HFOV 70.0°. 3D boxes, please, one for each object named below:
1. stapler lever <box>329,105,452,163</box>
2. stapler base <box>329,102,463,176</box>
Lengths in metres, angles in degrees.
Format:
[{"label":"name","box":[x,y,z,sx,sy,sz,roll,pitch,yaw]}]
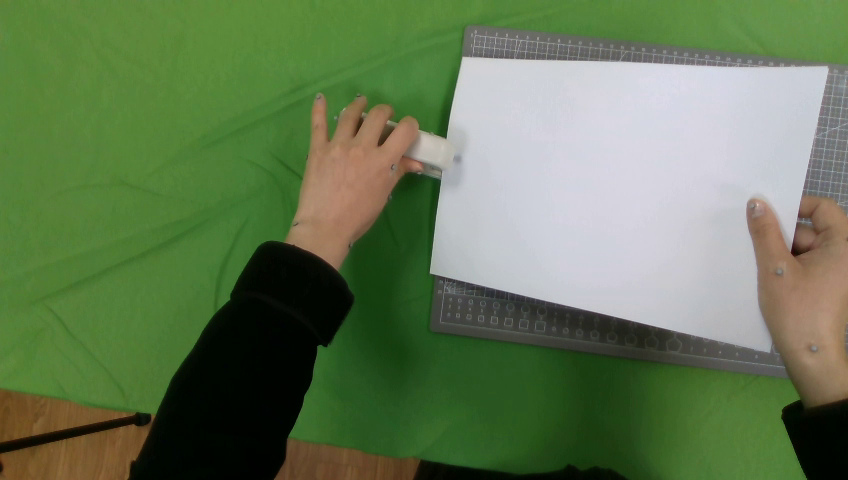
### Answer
[{"label":"stapler lever","box":[-0.032,-0.098,0.556,0.118,0.040,0.027,17,89,5]},{"label":"stapler base","box":[-0.028,-0.098,0.581,0.130,0.024,0.041,17,89,5]}]
